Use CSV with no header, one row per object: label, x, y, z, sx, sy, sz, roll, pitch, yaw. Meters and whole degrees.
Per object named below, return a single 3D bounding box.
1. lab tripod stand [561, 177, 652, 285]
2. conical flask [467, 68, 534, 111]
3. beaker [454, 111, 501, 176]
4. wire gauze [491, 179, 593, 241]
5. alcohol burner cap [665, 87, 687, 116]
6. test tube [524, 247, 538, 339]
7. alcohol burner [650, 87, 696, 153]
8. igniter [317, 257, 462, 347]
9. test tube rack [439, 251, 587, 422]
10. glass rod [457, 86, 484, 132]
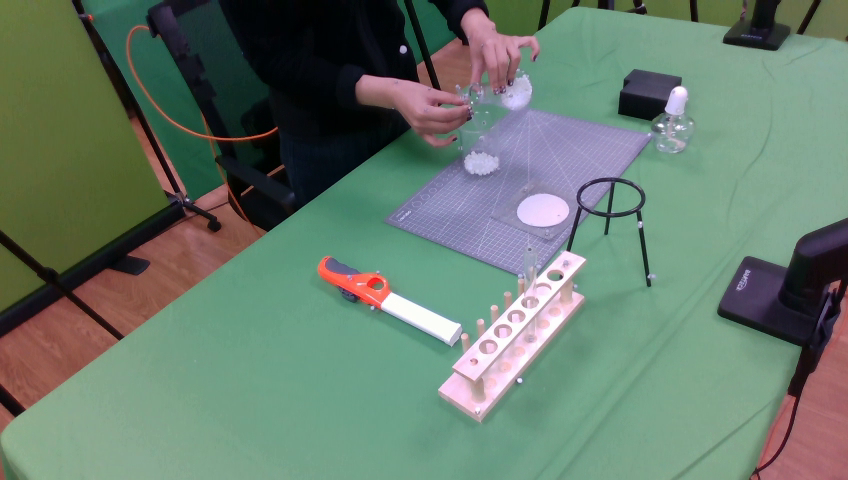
lab tripod stand,0.263,-0.014,0.864,0.148,0.132,0.147,-7,38,6
conical flask,0.131,-0.263,1.071,0.123,0.075,0.074,-16,36,-39
beaker,0.101,-0.174,1.106,0.084,0.101,0.073,-5,40,6
wire gauze,0.198,-0.051,1.014,0.125,0.011,0.120,-38,48,-27
alcohol burner cap,0.445,-0.244,1.060,0.034,0.048,0.033,-2,45,3
test tube,0.133,0.070,0.749,0.017,0.151,0.017,-5,38,4
alcohol burner,0.448,-0.217,1.084,0.078,0.119,0.077,-6,38,5
igniter,-0.061,0.086,0.891,0.274,0.025,0.057,23,59,33
test tube rack,0.118,0.111,0.780,0.066,0.085,0.243,26,51,34
glass rod,0.082,-0.219,1.030,0.008,0.201,0.008,-3,80,16
